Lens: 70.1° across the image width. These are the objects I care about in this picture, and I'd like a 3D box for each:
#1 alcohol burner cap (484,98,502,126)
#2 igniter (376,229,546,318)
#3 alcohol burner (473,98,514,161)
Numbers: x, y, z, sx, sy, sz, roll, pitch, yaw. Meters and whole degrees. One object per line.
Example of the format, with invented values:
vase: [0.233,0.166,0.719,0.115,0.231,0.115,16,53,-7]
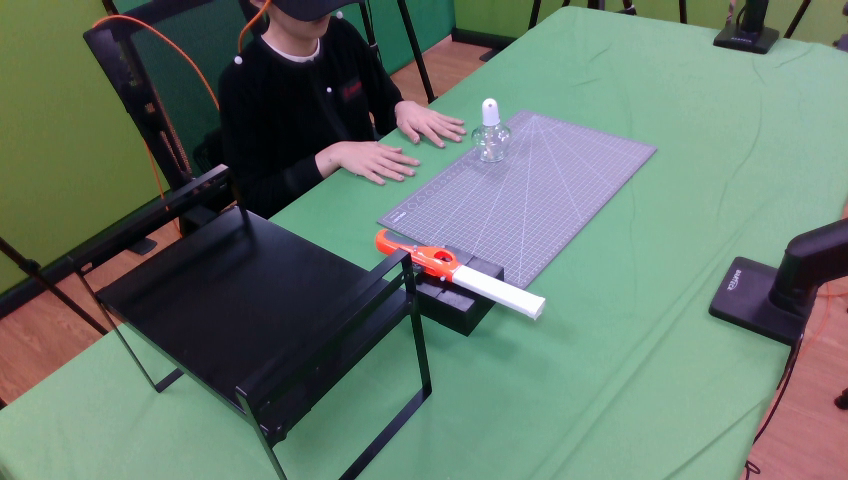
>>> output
alcohol burner cap: [0.124,-0.236,1.101,0.034,0.048,0.033,-7,38,6]
igniter: [0.040,0.041,0.845,0.274,0.025,0.057,22,46,27]
alcohol burner: [0.127,-0.208,1.123,0.078,0.119,0.077,-5,39,5]
